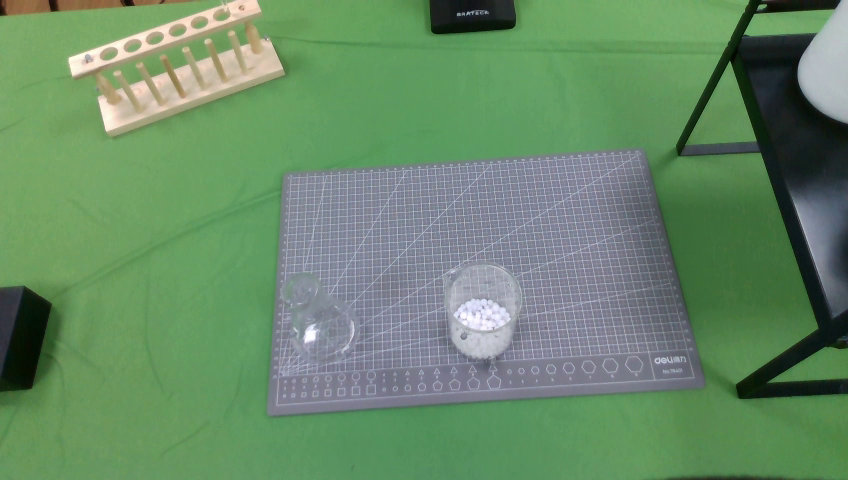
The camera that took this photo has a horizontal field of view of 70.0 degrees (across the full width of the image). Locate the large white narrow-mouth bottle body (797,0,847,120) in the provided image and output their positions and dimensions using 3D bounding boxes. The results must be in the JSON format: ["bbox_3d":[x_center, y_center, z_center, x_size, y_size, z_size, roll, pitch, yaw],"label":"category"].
[{"bbox_3d":[0.386,-0.188,0.475,0.102,0.196,0.101,-2,62,4],"label":"large white narrow-mouth bottle body"}]

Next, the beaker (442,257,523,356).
[{"bbox_3d":[0.055,0.070,0.612,0.083,0.101,0.074,31,68,18],"label":"beaker"}]

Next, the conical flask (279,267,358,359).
[{"bbox_3d":[-0.112,0.068,0.608,0.075,0.123,0.074,-1,63,3],"label":"conical flask"}]

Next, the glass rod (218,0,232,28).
[{"bbox_3d":[-0.254,-0.306,0.750,0.008,0.201,0.008,1,62,-2],"label":"glass rod"}]

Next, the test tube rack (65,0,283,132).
[{"bbox_3d":[-0.319,-0.232,0.791,0.242,0.086,0.066,-23,64,-9],"label":"test tube rack"}]
